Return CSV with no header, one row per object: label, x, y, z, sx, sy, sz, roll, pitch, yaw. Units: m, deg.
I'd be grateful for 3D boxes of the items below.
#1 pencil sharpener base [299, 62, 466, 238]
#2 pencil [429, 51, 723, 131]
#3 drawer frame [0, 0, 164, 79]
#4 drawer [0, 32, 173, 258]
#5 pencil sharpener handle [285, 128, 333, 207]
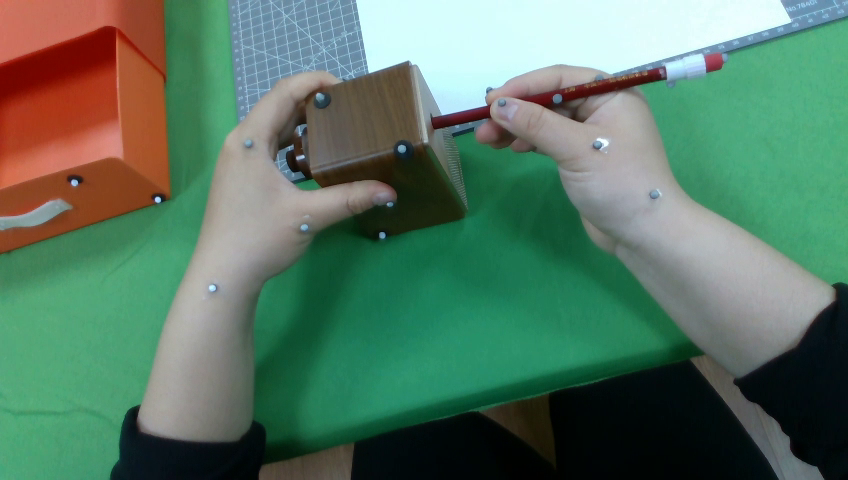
pencil sharpener base,-0.023,-0.050,0.387,0.076,0.108,0.061,-14,68,13
pencil,0.064,-0.078,0.340,0.194,0.012,0.012,-10,67,13
drawer frame,-0.342,-0.209,0.540,0.201,0.083,0.211,-17,66,7
drawer,-0.315,-0.104,0.496,0.194,0.074,0.210,-17,66,8
pencil sharpener handle,-0.075,-0.041,0.387,0.030,0.068,0.035,-14,63,13
